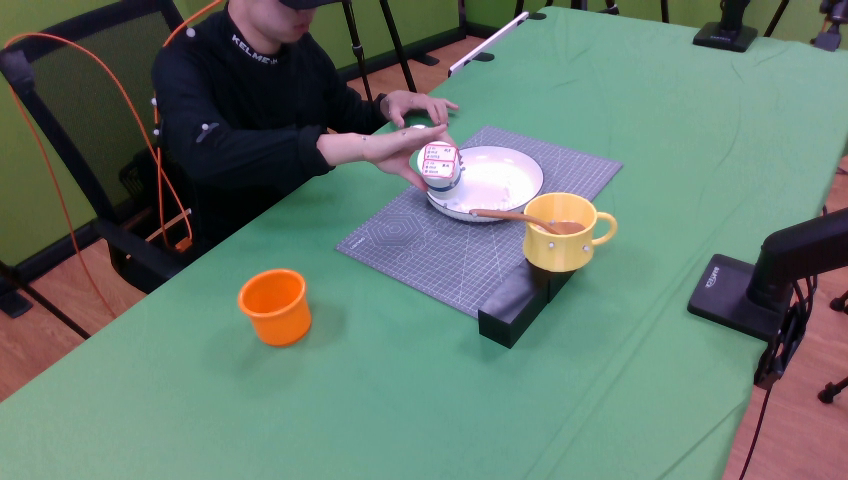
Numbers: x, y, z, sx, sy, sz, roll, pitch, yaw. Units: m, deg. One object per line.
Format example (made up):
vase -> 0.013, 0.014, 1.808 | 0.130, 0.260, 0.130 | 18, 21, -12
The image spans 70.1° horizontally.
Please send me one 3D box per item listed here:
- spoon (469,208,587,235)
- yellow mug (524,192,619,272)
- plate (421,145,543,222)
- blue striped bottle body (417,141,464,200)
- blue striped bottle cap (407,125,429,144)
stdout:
spoon -> 0.143, -0.026, 0.817 | 0.195, 0.021, 0.041 | 12, 34, -29
yellow mug -> 0.206, -0.014, 0.845 | 0.131, 0.064, 0.099 | -4, 41, 2
plate -> 0.101, -0.094, 1.048 | 0.207, 0.039, 0.206 | -4, 41, 4
blue striped bottle body -> 0.029, -0.103, 0.956 | 0.063, 0.121, 0.063 | -2, 74, 9
blue striped bottle cap -> -0.012, -0.214, 1.227 | 0.044, 0.021, 0.044 | -5, 37, 5
